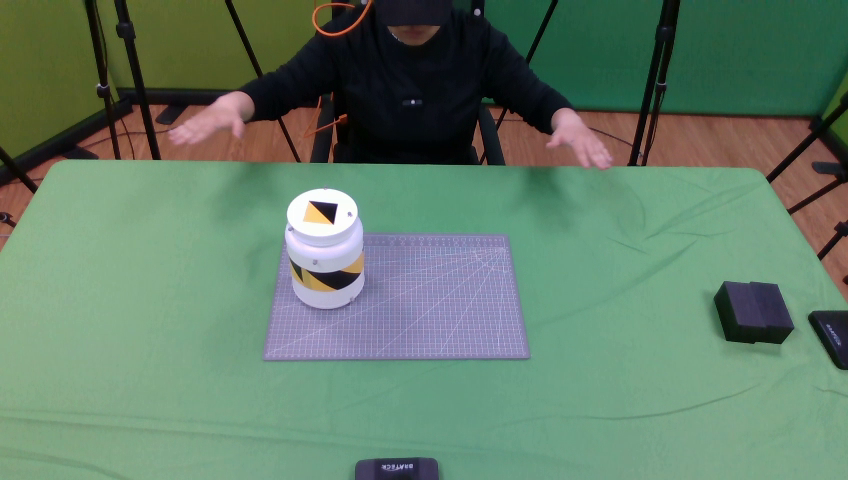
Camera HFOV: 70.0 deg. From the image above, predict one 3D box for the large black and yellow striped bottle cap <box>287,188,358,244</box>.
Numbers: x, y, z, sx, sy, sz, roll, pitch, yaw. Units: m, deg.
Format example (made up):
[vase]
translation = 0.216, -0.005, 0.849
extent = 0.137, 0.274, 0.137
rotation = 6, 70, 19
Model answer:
[large black and yellow striped bottle cap]
translation = -0.166, -0.041, 0.991
extent = 0.115, 0.019, 0.114
rotation = 2, 46, -1

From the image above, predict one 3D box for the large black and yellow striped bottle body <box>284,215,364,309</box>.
[large black and yellow striped bottle body]
translation = -0.171, 0.017, 1.052
extent = 0.131, 0.185, 0.130
rotation = 2, 46, -2
